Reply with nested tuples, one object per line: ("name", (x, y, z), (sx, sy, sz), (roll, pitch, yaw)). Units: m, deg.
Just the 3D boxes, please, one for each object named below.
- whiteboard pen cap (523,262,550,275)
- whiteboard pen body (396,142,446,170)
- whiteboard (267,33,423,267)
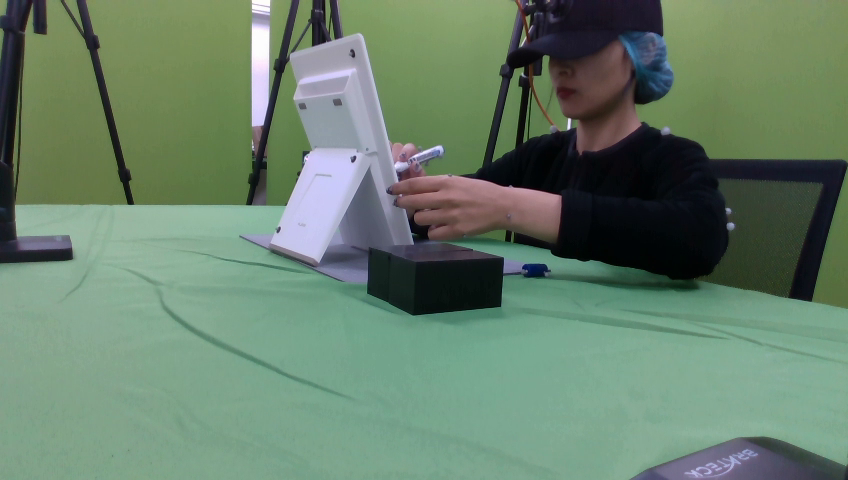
("whiteboard pen cap", (0.145, 0.037, 0.776), (0.033, 0.018, 0.018), (1, 6, -29))
("whiteboard pen body", (-0.009, -0.118, 0.868), (0.017, 0.017, 0.141), (6, 24, 33))
("whiteboard", (-0.153, -0.098, 0.818), (0.144, 0.305, 0.216), (-25, 21, -29))
